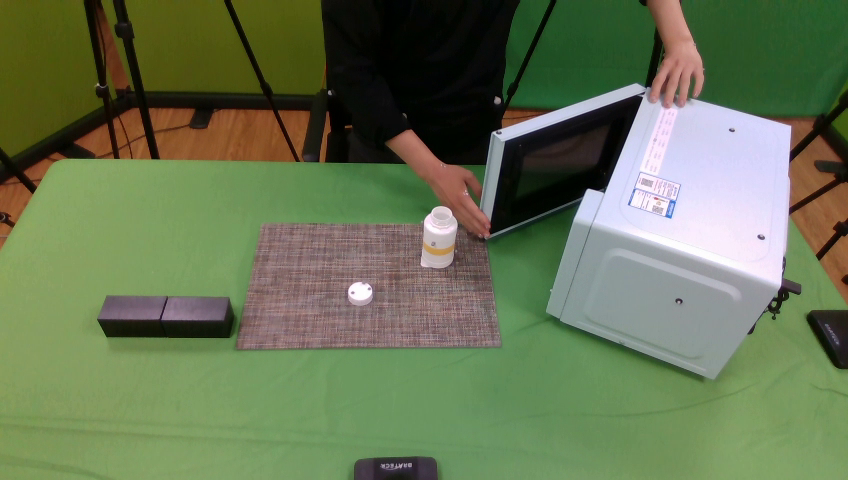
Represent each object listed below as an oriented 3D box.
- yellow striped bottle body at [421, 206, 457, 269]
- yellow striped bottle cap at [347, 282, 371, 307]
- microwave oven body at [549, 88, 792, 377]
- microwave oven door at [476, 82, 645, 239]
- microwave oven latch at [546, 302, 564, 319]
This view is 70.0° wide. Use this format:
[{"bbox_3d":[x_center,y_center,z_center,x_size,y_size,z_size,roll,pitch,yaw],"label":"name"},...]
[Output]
[{"bbox_3d":[0.028,-0.008,1.132,0.063,0.121,0.062,2,46,-2],"label":"yellow striped bottle body"},{"bbox_3d":[-0.117,0.098,1.093,0.044,0.019,0.044,3,46,-3],"label":"yellow striped bottle cap"},{"bbox_3d":[0.456,-0.028,1.088,0.325,0.261,0.440,20,47,16],"label":"microwave oven body"},{"bbox_3d":[0.269,-0.157,1.192,0.356,0.245,0.039,-22,52,-23],"label":"microwave oven door"},{"bbox_3d":[0.242,0.102,1.081,0.030,0.029,0.079,22,48,17],"label":"microwave oven latch"}]
